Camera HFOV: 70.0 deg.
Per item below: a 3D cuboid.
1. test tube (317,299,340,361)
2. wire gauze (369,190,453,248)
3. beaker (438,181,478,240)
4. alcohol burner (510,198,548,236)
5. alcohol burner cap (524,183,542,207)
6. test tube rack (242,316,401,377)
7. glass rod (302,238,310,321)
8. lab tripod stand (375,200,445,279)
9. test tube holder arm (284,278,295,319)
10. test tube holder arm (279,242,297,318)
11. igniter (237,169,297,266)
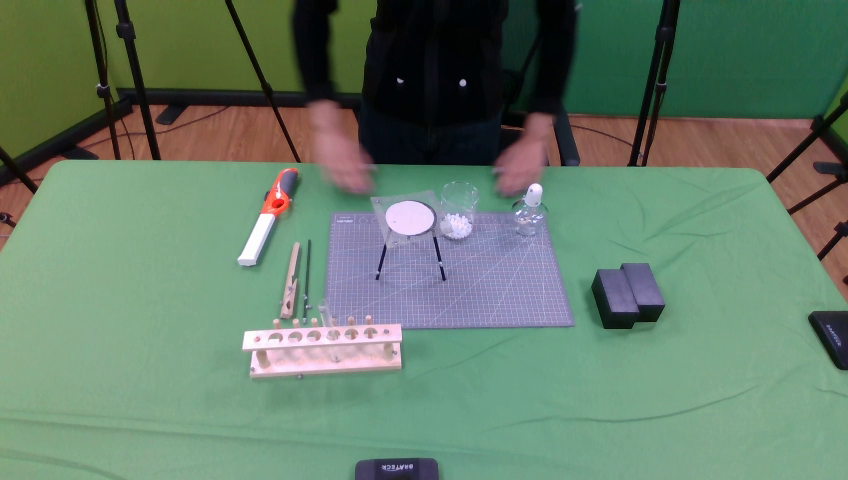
[{"bbox_3d":[-0.147,0.142,0.937,0.017,0.151,0.017,-1,46,2],"label":"test tube"},{"bbox_3d":[-0.024,-0.042,1.064,0.121,0.011,0.124,-10,48,-16],"label":"wire gauze"},{"bbox_3d":[0.066,-0.054,1.200,0.074,0.101,0.083,-17,50,-19],"label":"beaker"},{"bbox_3d":[0.214,-0.066,1.213,0.078,0.119,0.077,2,48,-3],"label":"alcohol burner"},{"bbox_3d":[0.216,-0.090,1.186,0.034,0.048,0.033,1,55,-2],"label":"alcohol burner cap"},{"bbox_3d":[-0.161,0.166,0.983,0.242,0.085,0.066,-2,46,-6],"label":"test tube rack"},{"bbox_3d":[-0.218,0.069,1.125,0.008,0.008,0.198,-2,47,-5],"label":"glass rod"},{"bbox_3d":[-0.023,0.003,1.113,0.148,0.132,0.147,4,45,-3],"label":"lab tripod stand"},{"bbox_3d":[-0.241,0.103,1.085,0.010,0.015,0.087,25,39,-27],"label":"test tube holder arm"},{"bbox_3d":[-0.249,0.069,1.114,0.013,0.015,0.177,25,39,-27],"label":"test tube holder arm"},{"bbox_3d":[-0.313,-0.055,1.224,0.057,0.025,0.275,1,45,10],"label":"igniter"}]
